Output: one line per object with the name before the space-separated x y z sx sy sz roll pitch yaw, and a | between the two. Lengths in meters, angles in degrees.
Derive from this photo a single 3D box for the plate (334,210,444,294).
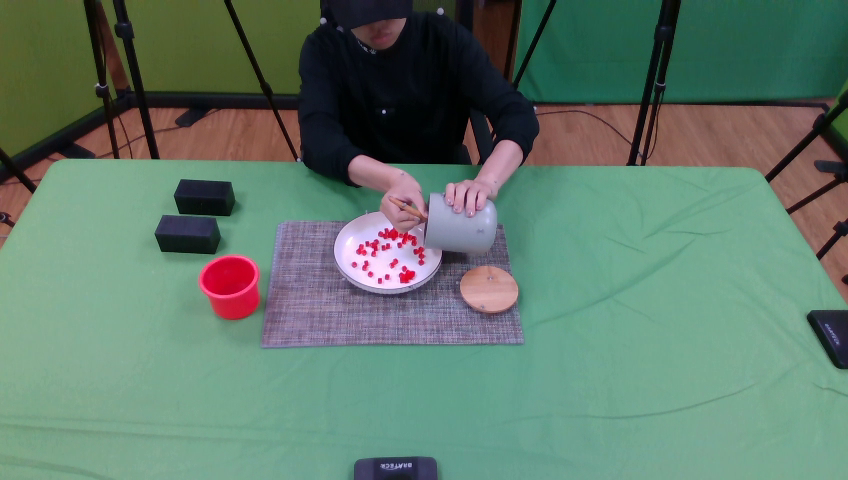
plate | -0.066 0.026 1.150 0.208 0.039 0.206 2 46 -2

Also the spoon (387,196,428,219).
spoon | 0.017 -0.041 1.099 0.194 0.022 0.041 17 35 -24

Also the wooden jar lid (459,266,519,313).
wooden jar lid | 0.118 0.093 1.111 0.108 0.021 0.107 1 47 -1

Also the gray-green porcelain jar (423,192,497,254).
gray-green porcelain jar | 0.066 -0.031 1.115 0.126 0.106 0.105 6 46 -3
